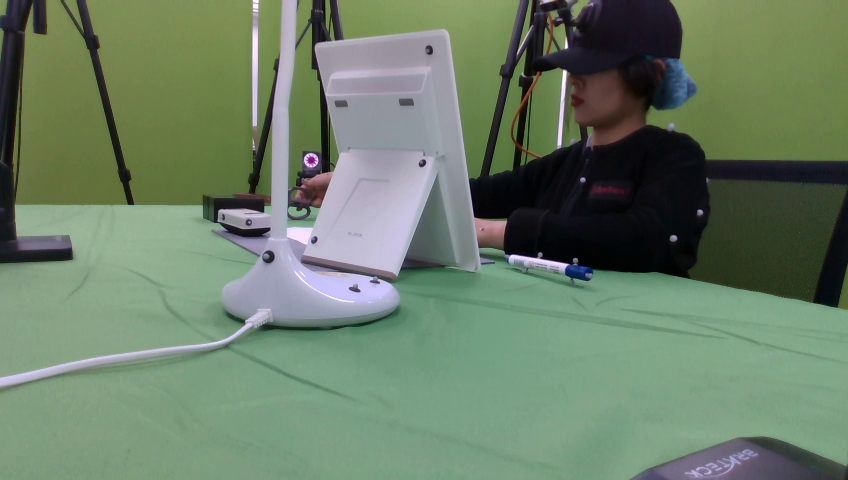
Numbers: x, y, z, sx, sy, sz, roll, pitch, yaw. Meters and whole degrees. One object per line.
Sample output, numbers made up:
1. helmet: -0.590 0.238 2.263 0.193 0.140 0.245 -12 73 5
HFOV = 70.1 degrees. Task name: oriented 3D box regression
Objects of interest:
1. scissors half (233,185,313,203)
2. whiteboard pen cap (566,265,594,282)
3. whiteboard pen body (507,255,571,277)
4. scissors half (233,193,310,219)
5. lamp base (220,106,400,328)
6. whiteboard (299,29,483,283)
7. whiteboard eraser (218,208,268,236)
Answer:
1. scissors half: -0.326 -0.098 1.316 0.176 0.040 0.012 -5 18 -30
2. whiteboard pen cap: 0.185 0.040 0.722 0.018 0.018 0.033 -3 6 -33
3. whiteboard pen body: 0.155 0.034 0.772 0.017 0.017 0.140 -2 7 -31
4. scissors half: -0.330 -0.078 1.319 0.176 0.040 0.013 16 2 -33
5. lamp base: -0.101 -0.023 0.531 0.160 0.180 0.179 4 10 10
6. whiteboard: -0.074 -0.082 0.742 0.216 0.305 0.144 9 29 38
7. whiteboard eraser: -0.309 -0.031 1.044 0.056 0.042 0.112 -2 9 -40
